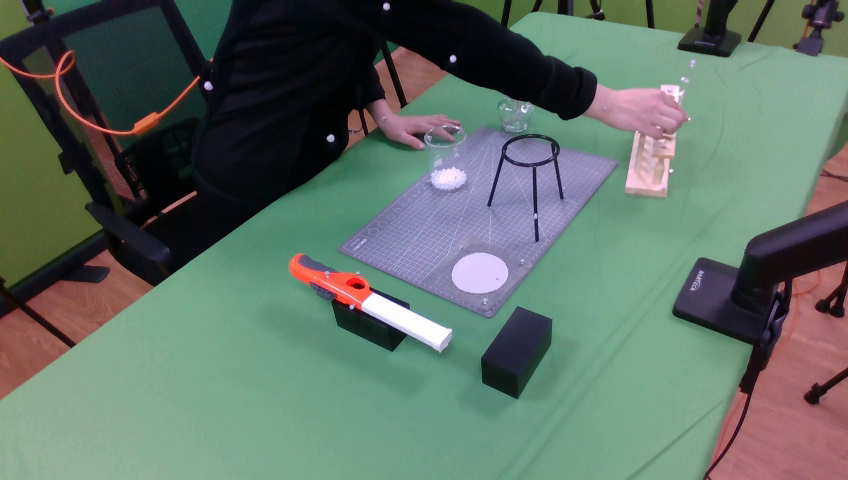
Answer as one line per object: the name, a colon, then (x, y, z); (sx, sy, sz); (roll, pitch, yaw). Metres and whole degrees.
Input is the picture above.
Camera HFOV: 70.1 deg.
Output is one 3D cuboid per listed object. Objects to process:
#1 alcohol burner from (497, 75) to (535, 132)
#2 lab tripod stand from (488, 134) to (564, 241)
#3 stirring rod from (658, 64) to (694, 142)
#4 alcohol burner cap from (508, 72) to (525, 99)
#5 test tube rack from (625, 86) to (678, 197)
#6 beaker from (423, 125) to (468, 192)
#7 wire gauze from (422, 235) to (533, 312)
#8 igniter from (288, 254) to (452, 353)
alcohol burner: (0.184, -0.278, 1.210); (0.078, 0.119, 0.077); (-3, 43, 3)
lab tripod stand: (0.168, -0.092, 0.972); (0.148, 0.132, 0.147); (-5, 41, 5)
stirring rod: (0.410, -0.214, 1.000); (0.014, 0.176, 0.006); (-36, 60, -29)
alcohol burner cap: (0.181, -0.306, 1.186); (0.034, 0.048, 0.033); (-7, 39, 6)
test tube rack: (0.412, -0.184, 1.088); (0.066, 0.085, 0.242); (9, 43, 18)
beaker: (0.042, -0.144, 1.078); (0.073, 0.100, 0.084); (28, 51, 34)
wire gauze: (0.082, 0.049, 0.914); (0.120, 0.011, 0.125); (26, 52, 32)
igniter: (-0.083, 0.079, 0.818); (0.274, 0.025, 0.057); (23, 46, 27)
